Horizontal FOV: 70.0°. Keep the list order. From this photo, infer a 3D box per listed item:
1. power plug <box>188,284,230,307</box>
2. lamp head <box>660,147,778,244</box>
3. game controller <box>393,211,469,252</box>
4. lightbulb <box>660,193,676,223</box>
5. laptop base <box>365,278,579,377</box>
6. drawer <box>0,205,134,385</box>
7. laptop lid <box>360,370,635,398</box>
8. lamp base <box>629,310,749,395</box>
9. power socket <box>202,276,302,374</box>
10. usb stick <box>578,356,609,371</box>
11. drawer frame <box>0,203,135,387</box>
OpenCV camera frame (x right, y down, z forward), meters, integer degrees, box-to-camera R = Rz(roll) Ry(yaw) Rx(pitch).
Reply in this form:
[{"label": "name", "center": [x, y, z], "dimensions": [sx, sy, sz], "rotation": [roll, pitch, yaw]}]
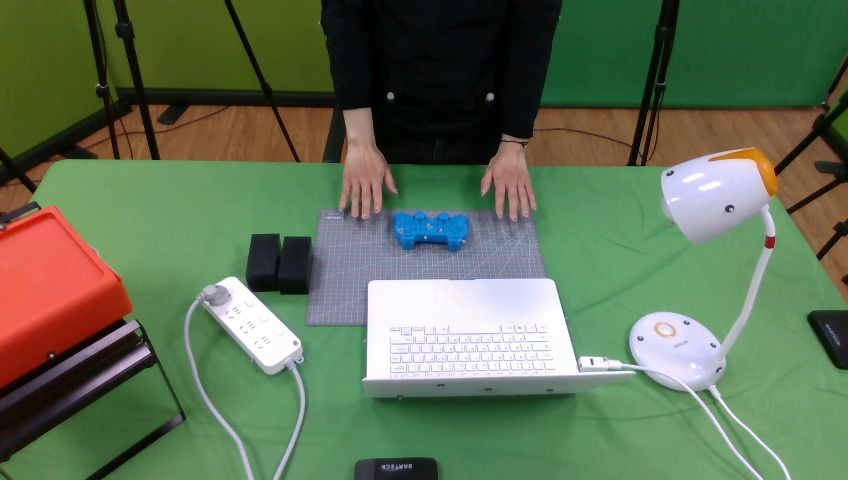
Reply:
[{"label": "power plug", "center": [-0.368, 0.100, 1.036], "dimensions": [0.072, 0.053, 0.035], "rotation": [-27, 54, -24]}, {"label": "lamp head", "center": [0.389, -0.063, 0.784], "dimensions": [0.123, 0.113, 0.112], "rotation": [-22, 33, 37]}, {"label": "game controller", "center": [0.014, -0.027, 1.204], "dimensions": [0.155, 0.052, 0.096], "rotation": [2, 51, -2]}, {"label": "lightbulb", "center": [0.366, -0.060, 0.806], "dimensions": [0.060, 0.107, 0.059], "rotation": [17, 60, -32]}, {"label": "laptop base", "center": [0.077, 0.162, 1.053], "dimensions": [0.355, 0.023, 0.234], "rotation": [0, 44, -4]}, {"label": "drawer", "center": [-0.533, 0.071, 0.802], "dimensions": [0.193, 0.073, 0.211], "rotation": [37, 55, 26]}, {"label": "laptop lid", "center": [0.090, 0.208, 0.863], "dimensions": [0.357, 0.242, 0.013], "rotation": [0, 71, -6]}, {"label": "lamp base", "center": [0.447, 0.142, 0.984], "dimensions": [0.161, 0.181, 0.178], "rotation": [-24, 55, -24]}, {"label": "power socket", "center": [-0.296, 0.142, 1.034], "dimensions": [0.072, 0.033, 0.225], "rotation": [-34, 58, -31]}, {"label": "usb stick", "center": [0.274, 0.207, 1.007], "dimensions": [0.059, 0.027, 0.021], "rotation": [0, 52, 0]}, {"label": "drawer frame", "center": [-0.536, 0.073, 0.798], "dimensions": [0.200, 0.083, 0.213], "rotation": [36, 54, 26]}]
